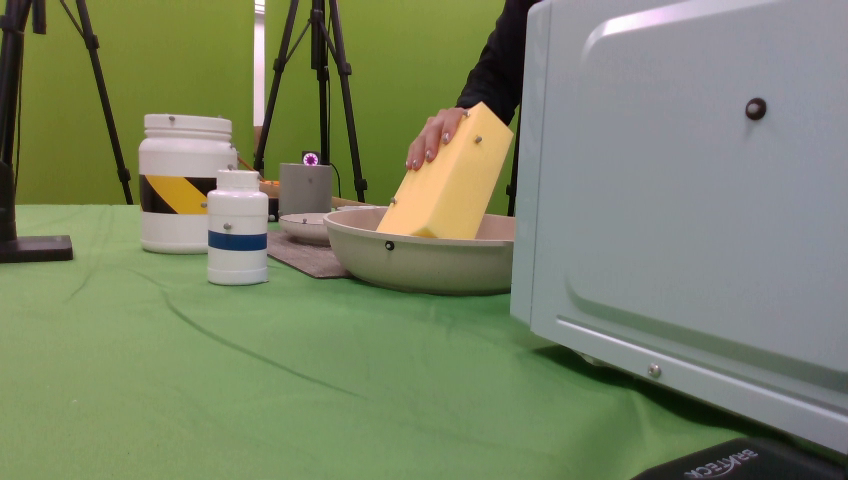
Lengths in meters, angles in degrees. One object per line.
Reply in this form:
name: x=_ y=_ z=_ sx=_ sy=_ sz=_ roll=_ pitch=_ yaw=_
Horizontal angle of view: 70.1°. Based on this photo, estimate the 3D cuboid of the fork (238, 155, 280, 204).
fork: x=-0.396 y=-0.143 z=1.486 sx=0.028 sy=0.018 sz=0.208 roll=20 pitch=-26 yaw=45

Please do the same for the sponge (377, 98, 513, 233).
sponge: x=0.020 y=-0.059 z=0.705 sx=0.061 sy=0.207 sz=0.118 roll=40 pitch=-39 yaw=-21

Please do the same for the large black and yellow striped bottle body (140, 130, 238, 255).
large black and yellow striped bottle body: x=-0.336 y=-0.078 z=0.871 sx=0.131 sy=0.184 sz=0.130 roll=2 pitch=8 yaw=0

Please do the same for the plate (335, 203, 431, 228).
plate: x=-0.089 y=-0.053 z=1.309 sx=0.208 sy=0.039 sz=0.207 roll=2 pitch=8 yaw=0

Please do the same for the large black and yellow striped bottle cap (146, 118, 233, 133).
large black and yellow striped bottle cap: x=-0.333 y=-0.163 z=0.860 sx=0.115 sy=0.019 sz=0.115 roll=1 pitch=9 yaw=0

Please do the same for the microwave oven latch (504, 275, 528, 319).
microwave oven latch: x=0.100 y=0.042 z=0.471 sx=0.079 sy=0.029 sz=0.030 roll=-1 pitch=7 yaw=-28

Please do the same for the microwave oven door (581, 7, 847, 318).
microwave oven door: x=0.295 y=-0.067 z=0.569 sx=0.358 sy=0.243 sz=0.039 roll=-3 pitch=8 yaw=-31

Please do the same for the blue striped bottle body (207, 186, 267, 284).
blue striped bottle body: x=-0.204 y=-0.016 z=0.663 sx=0.063 sy=0.120 sz=0.063 roll=2 pitch=7 yaw=0

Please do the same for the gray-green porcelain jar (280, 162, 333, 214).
gray-green porcelain jar: x=-0.238 y=-0.092 z=1.221 sx=0.106 sy=0.126 sz=0.106 roll=2 pitch=7 yaw=0

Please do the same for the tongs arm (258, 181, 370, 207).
tongs arm: x=-0.241 y=-0.095 z=1.373 sx=0.387 sy=0.026 sz=0.050 roll=9 pitch=0 yaw=-37

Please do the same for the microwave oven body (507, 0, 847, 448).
microwave oven body: x=0.331 y=-0.042 z=0.425 sx=0.444 sy=0.260 sz=0.324 roll=-2 pitch=8 yaw=-31

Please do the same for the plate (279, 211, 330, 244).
plate: x=-0.139 y=-0.022 z=1.021 sx=0.209 sy=0.038 sz=0.209 roll=2 pitch=8 yaw=0

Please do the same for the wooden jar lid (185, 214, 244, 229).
wooden jar lid: x=-0.404 y=-0.037 z=1.169 sx=0.108 sy=0.020 sz=0.108 roll=3 pitch=7 yaw=0

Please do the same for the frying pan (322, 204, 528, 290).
frying pan: x=0.109 y=-0.017 z=0.800 sx=0.490 sy=0.102 sz=0.305 roll=-12 pitch=16 yaw=-30

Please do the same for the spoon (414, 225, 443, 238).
spoon: x=0.016 y=-0.020 z=1.113 sx=0.041 sy=0.021 sz=0.194 roll=-15 pitch=3 yaw=12

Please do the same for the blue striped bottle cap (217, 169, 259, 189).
blue striped bottle cap: x=-0.202 y=-0.067 z=0.656 sx=0.044 sy=0.020 sz=0.044 roll=0 pitch=10 yaw=0

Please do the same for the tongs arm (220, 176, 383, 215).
tongs arm: x=-0.285 y=-0.103 z=1.445 sx=0.389 sy=0.027 sz=0.028 roll=9 pitch=-4 yaw=-23
